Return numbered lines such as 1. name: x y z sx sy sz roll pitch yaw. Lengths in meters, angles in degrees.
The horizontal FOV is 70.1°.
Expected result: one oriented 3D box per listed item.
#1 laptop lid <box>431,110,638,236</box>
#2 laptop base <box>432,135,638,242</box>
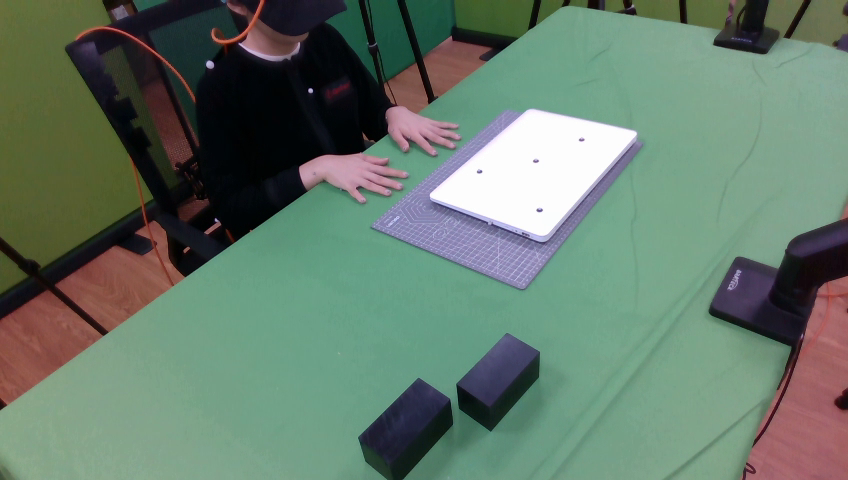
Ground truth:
1. laptop lid: 0.205 -0.138 1.092 0.239 0.013 0.358 23 49 34
2. laptop base: 0.208 -0.129 1.098 0.233 0.023 0.355 20 47 33
